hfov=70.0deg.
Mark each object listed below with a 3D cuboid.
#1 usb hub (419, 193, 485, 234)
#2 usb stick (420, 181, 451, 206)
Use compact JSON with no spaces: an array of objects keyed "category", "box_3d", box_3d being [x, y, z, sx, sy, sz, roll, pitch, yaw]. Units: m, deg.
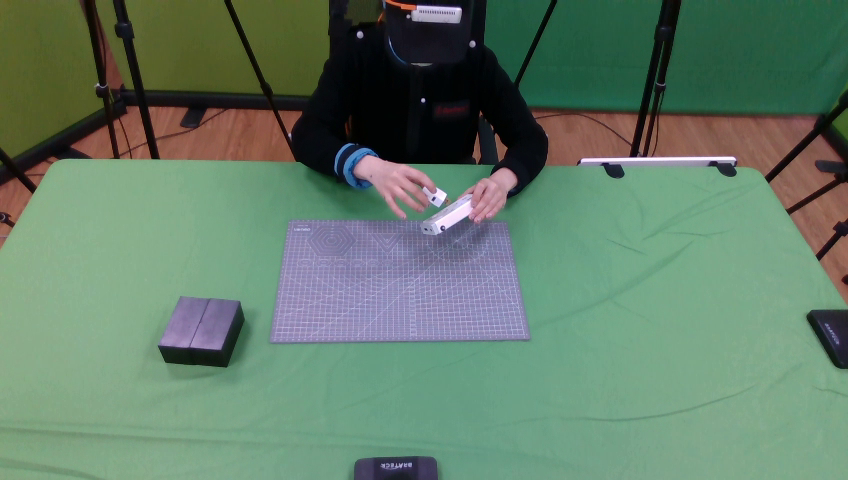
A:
[{"category":"usb hub","box_3d":[0.054,-0.051,1.151,0.125,0.025,0.049,-32,20,-24]},{"category":"usb stick","box_3d":[0.022,-0.081,1.117,0.059,0.021,0.027,33,33,-10]}]
